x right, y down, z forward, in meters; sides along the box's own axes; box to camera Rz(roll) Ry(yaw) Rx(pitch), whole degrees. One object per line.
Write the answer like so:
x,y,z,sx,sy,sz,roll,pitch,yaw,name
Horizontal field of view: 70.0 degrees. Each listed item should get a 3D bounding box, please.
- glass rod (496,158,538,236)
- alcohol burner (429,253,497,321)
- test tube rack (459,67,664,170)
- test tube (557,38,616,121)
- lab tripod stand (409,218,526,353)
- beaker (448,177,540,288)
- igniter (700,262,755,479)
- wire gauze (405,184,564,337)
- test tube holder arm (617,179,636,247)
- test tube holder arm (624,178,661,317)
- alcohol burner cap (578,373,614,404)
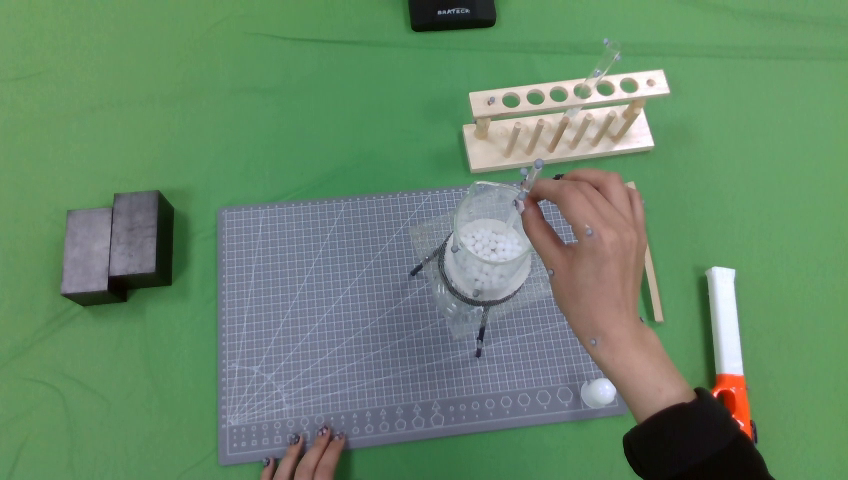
0.073,-0.030,0.504,0.008,0.200,0.008,0,77,0,glass rod
0.045,0.046,0.667,0.078,0.120,0.077,1,68,-1,alcohol burner
0.171,-0.152,0.762,0.243,0.085,0.066,-8,70,-6,test tube rack
0.190,-0.186,0.722,0.017,0.151,0.017,3,68,-8,test tube
0.050,0.041,0.658,0.148,0.132,0.147,0,71,-1,lab tripod stand
0.057,-0.003,0.553,0.074,0.101,0.083,-21,72,-8,beaker
0.343,0.159,0.691,0.057,0.025,0.274,8,70,-10,igniter
0.058,0.016,0.598,0.121,0.011,0.124,-22,74,-7,wire gauze
0.257,-0.034,0.761,0.010,0.015,0.087,-17,70,26,test tube holder arm
0.267,0.007,0.744,0.013,0.015,0.177,-17,70,26,test tube holder arm
0.192,0.162,0.671,0.034,0.048,0.033,1,70,-2,alcohol burner cap
